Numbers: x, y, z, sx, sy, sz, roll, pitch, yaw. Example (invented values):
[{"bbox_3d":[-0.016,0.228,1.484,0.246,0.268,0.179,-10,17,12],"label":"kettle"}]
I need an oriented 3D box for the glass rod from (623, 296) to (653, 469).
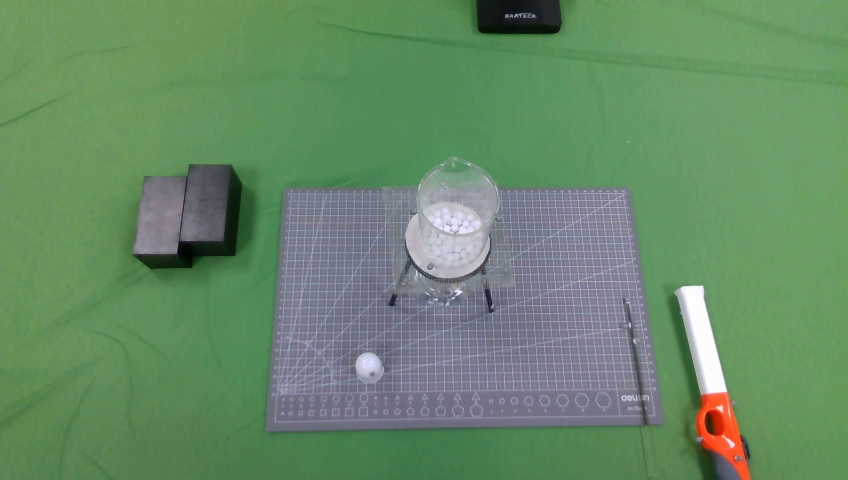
[{"bbox_3d":[0.248,0.161,0.705,0.008,0.008,0.198,-1,70,-3],"label":"glass rod"}]

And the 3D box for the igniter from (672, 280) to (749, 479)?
[{"bbox_3d":[0.330,0.180,0.695,0.057,0.025,0.274,0,70,-13],"label":"igniter"}]

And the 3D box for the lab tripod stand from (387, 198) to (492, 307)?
[{"bbox_3d":[0.020,0.016,0.682,0.148,0.132,0.147,0,69,0],"label":"lab tripod stand"}]

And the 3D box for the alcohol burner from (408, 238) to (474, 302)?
[{"bbox_3d":[0.020,0.028,0.688,0.078,0.120,0.077,0,68,0],"label":"alcohol burner"}]

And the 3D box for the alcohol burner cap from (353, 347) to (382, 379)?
[{"bbox_3d":[-0.064,0.137,0.684,0.034,0.048,0.033,1,70,-2],"label":"alcohol burner cap"}]

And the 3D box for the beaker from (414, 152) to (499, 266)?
[{"bbox_3d":[0.027,-0.025,0.576,0.074,0.101,0.083,-4,68,-3],"label":"beaker"}]

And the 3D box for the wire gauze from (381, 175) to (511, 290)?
[{"bbox_3d":[0.021,-0.009,0.621,0.125,0.011,0.120,-5,68,-2],"label":"wire gauze"}]
